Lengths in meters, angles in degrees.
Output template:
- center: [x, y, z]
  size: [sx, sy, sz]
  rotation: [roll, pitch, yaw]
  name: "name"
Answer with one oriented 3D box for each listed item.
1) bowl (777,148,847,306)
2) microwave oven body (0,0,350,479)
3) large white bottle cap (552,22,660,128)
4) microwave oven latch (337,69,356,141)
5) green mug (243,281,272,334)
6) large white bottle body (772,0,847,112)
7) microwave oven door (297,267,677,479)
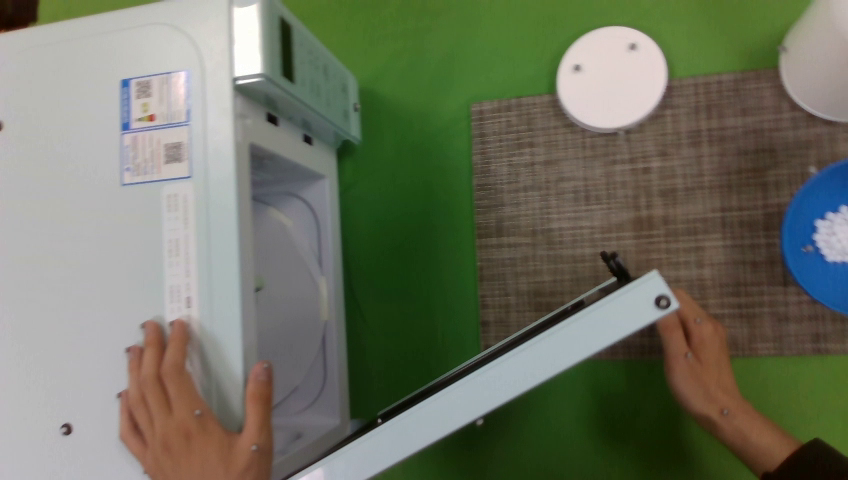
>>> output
- center: [0.410, -0.009, 0.577]
  size: [0.151, 0.077, 0.151]
  rotation: [-1, 87, 14]
  name: "bowl"
- center: [-0.250, 0.027, 0.636]
  size: [0.325, 0.261, 0.441]
  rotation: [-6, 86, 12]
  name: "microwave oven body"
- center: [0.198, -0.181, 0.665]
  size: [0.114, 0.018, 0.114]
  rotation: [-1, 86, 13]
  name: "large white bottle cap"
- center: [-0.098, -0.158, 0.709]
  size: [0.030, 0.029, 0.079]
  rotation: [-6, 86, 12]
  name: "microwave oven latch"
- center: [-0.226, 0.072, 0.651]
  size: [0.125, 0.105, 0.092]
  rotation: [-18, 85, 8]
  name: "green mug"
- center: [0.403, -0.203, 0.532]
  size: [0.130, 0.185, 0.130]
  rotation: [-2, 83, 13]
  name: "large white bottle body"
- center: [0.049, 0.131, 0.557]
  size: [0.356, 0.245, 0.039]
  rotation: [-33, 80, 9]
  name: "microwave oven door"
